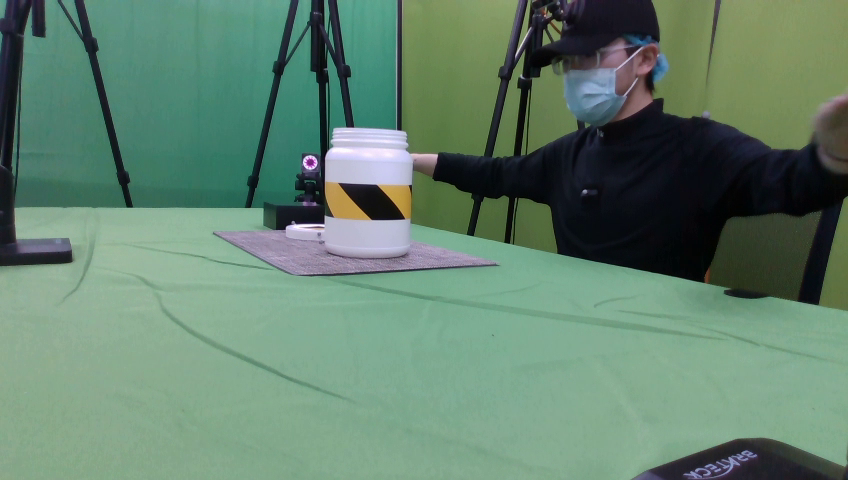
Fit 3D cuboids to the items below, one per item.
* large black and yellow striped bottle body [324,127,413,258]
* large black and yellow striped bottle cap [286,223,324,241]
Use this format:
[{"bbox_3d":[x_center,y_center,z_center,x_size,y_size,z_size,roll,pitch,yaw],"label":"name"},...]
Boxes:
[{"bbox_3d":[-0.083,-0.073,0.899,0.131,0.184,0.130,2,7,0],"label":"large black and yellow striped bottle body"},{"bbox_3d":[-0.187,-0.015,1.077,0.115,0.019,0.115,2,9,0],"label":"large black and yellow striped bottle cap"}]
